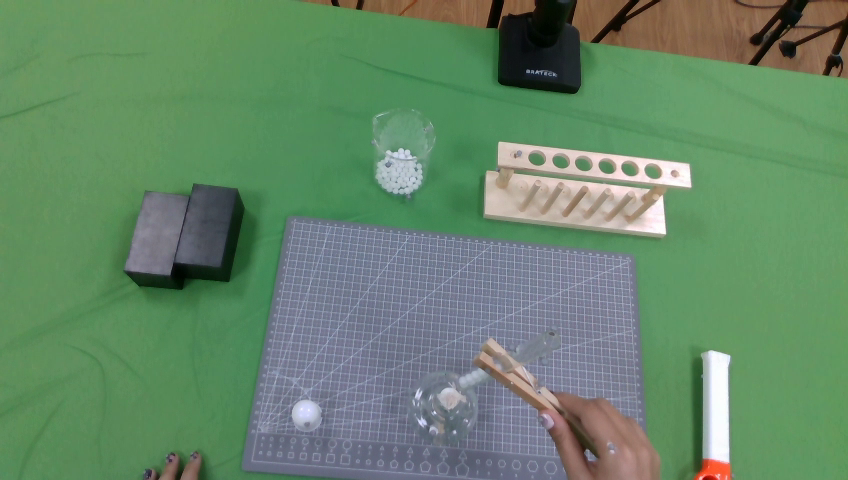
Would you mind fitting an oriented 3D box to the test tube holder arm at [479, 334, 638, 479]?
[{"bbox_3d":[0.115,0.144,0.515,0.178,0.015,0.013,42,58,-3],"label":"test tube holder arm"}]

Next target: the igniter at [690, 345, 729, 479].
[{"bbox_3d":[0.330,0.256,0.692,0.057,0.025,0.274,16,67,-11],"label":"igniter"}]

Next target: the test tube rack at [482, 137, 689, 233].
[{"bbox_3d":[0.203,-0.068,0.775,0.243,0.085,0.066,6,67,-5],"label":"test tube rack"}]

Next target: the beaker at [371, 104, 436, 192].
[{"bbox_3d":[-0.032,-0.112,0.756,0.084,0.101,0.074,32,68,8],"label":"beaker"}]

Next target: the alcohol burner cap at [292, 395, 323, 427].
[{"bbox_3d":[-0.127,0.182,0.654,0.034,0.048,0.033,3,68,-6],"label":"alcohol burner cap"}]

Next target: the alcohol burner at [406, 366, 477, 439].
[{"bbox_3d":[0.021,0.168,0.639,0.078,0.120,0.077,3,66,-6],"label":"alcohol burner"}]

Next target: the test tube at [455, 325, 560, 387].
[{"bbox_3d":[0.064,0.100,0.507,0.017,0.150,0.017,12,61,-21],"label":"test tube"}]

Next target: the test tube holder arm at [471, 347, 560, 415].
[{"bbox_3d":[0.078,0.119,0.509,0.088,0.015,0.010,36,58,-7],"label":"test tube holder arm"}]
